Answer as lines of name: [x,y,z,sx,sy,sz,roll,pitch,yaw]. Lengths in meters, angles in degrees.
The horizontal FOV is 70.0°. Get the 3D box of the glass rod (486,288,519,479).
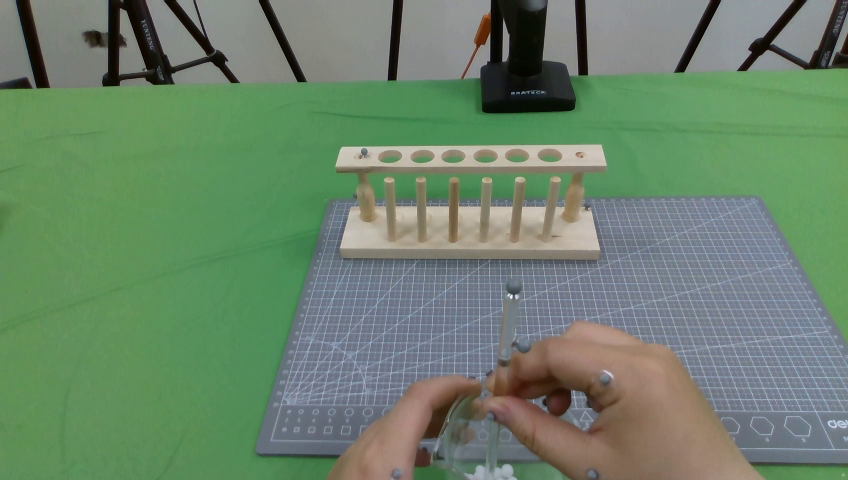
glass rod: [0.039,0.090,0.309,0.008,0.201,0.008,-1,45,2]

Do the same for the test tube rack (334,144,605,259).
test tube rack: [0.041,-0.035,0.567,0.242,0.086,0.066,0,41,4]

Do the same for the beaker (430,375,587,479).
beaker: [0.043,0.140,0.349,0.084,0.101,0.073,-9,41,-12]
